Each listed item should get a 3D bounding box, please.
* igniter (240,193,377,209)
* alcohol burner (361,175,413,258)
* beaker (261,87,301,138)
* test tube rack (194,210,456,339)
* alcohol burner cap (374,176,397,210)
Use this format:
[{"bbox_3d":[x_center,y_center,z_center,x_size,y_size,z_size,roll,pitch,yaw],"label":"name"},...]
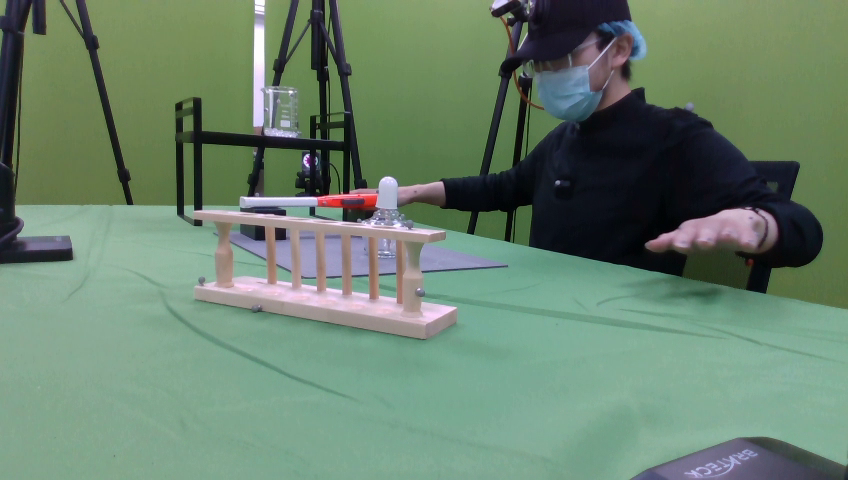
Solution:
[{"bbox_3d":[-0.188,-0.070,1.078,0.278,0.025,0.057,-5,11,-35],"label":"igniter"},{"bbox_3d":[-0.054,-0.034,0.870,0.078,0.119,0.078,1,9,0],"label":"alcohol burner"},{"bbox_3d":[-0.298,-0.263,1.255,0.084,0.100,0.073,-5,10,-40],"label":"beaker"},{"bbox_3d":[-0.093,0.023,0.545,0.241,0.085,0.067,6,8,25],"label":"test tube rack"},{"bbox_3d":[-0.054,-0.068,0.866,0.034,0.048,0.034,6,10,-1],"label":"alcohol burner cap"}]
